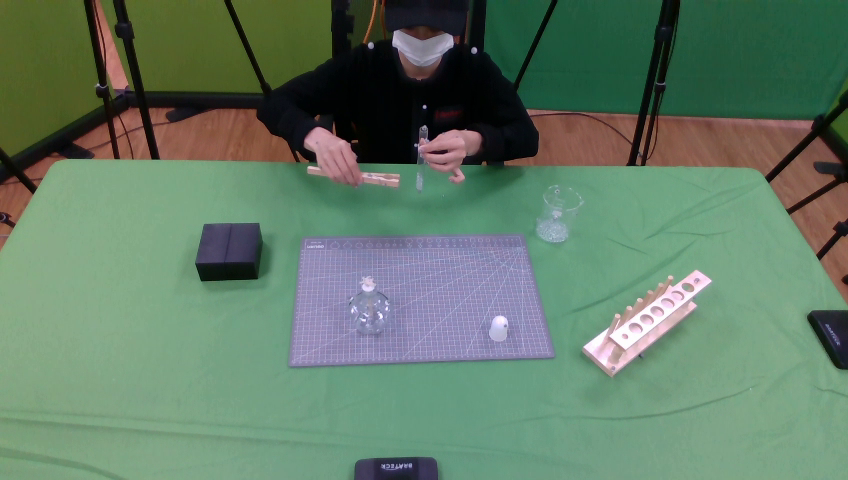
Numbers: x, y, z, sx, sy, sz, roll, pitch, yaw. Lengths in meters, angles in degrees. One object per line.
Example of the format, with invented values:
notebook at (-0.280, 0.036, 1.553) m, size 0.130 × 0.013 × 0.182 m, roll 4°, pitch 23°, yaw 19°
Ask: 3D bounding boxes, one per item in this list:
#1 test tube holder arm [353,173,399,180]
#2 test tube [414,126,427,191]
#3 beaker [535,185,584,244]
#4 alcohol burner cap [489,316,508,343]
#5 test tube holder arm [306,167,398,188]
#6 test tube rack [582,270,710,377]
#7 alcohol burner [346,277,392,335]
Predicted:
test tube holder arm at (-0.093, -0.119, 1.161) m, size 0.088 × 0.015 × 0.010 m, roll 2°, pitch 37°, yaw -4°
test tube at (-0.007, -0.148, 1.132) m, size 0.017 × 0.151 × 0.017 m, roll 3°, pitch 48°, yaw -3°
beaker at (0.268, -0.048, 1.213) m, size 0.084 × 0.101 × 0.073 m, roll 6°, pitch 46°, yaw 0°
alcohol burner cap at (0.130, 0.151, 1.045) m, size 0.034 × 0.048 × 0.033 m, roll 3°, pitch 46°, yaw -2°
test tube holder arm at (-0.138, -0.120, 1.158) m, size 0.178 × 0.015 × 0.013 m, roll 8°, pitch 36°, yaw 4°
test tube rack at (0.389, 0.132, 1.057) m, size 0.242 × 0.085 × 0.066 m, roll -28°, pitch 54°, yaw -28°
alcohol burner at (-0.093, 0.106, 1.021) m, size 0.078 × 0.120 × 0.077 m, roll 1°, pitch 46°, yaw -1°
